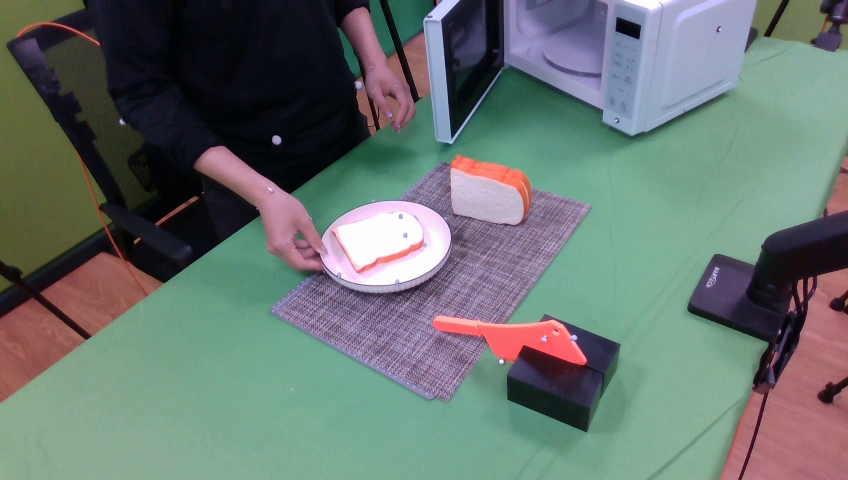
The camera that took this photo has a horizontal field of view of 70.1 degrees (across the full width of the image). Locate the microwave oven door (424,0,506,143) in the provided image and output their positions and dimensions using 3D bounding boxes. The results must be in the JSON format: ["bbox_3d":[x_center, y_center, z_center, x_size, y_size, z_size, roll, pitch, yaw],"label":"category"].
[{"bbox_3d":[0.093,-0.392,1.218,0.039,0.245,0.356,11,44,21],"label":"microwave oven door"}]

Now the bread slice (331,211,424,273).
[{"bbox_3d":[-0.069,-0.003,0.960,0.135,0.018,0.106,-21,46,-21],"label":"bread slice"}]

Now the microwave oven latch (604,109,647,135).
[{"bbox_3d":[0.378,-0.225,1.139,0.030,0.029,0.078,-26,43,-20],"label":"microwave oven latch"}]

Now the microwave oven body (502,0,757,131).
[{"bbox_3d":[0.396,-0.448,1.248,0.327,0.261,0.437,-27,44,-21],"label":"microwave oven body"}]

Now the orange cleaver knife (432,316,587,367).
[{"bbox_3d":[0.101,0.127,0.761,0.210,0.077,0.012,-1,34,40],"label":"orange cleaver knife"}]

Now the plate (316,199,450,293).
[{"bbox_3d":[-0.062,0.013,0.943,0.208,0.039,0.206,-3,40,3],"label":"plate"}]
